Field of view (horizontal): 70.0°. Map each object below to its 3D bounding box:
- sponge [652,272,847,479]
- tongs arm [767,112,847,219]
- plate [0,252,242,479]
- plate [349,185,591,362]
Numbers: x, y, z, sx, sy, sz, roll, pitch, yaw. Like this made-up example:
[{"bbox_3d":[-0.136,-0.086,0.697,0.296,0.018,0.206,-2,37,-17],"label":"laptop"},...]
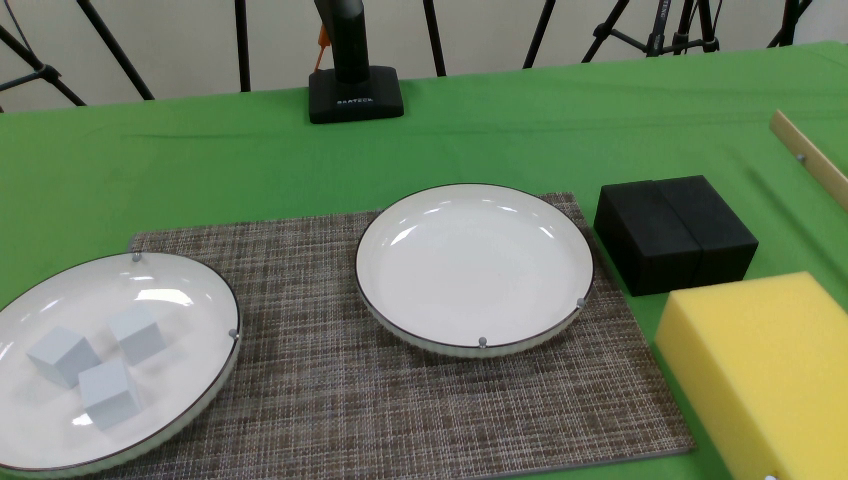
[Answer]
[{"bbox_3d":[0.263,0.121,0.416,0.118,0.061,0.204,-9,43,-7],"label":"sponge"},{"bbox_3d":[0.406,0.000,0.517,0.028,0.028,0.383,-8,44,-5],"label":"tongs arm"},{"bbox_3d":[-0.245,0.092,0.472,0.209,0.038,0.207,-1,42,1],"label":"plate"},{"bbox_3d":[0.040,0.028,0.537,0.208,0.039,0.205,0,42,1],"label":"plate"}]
